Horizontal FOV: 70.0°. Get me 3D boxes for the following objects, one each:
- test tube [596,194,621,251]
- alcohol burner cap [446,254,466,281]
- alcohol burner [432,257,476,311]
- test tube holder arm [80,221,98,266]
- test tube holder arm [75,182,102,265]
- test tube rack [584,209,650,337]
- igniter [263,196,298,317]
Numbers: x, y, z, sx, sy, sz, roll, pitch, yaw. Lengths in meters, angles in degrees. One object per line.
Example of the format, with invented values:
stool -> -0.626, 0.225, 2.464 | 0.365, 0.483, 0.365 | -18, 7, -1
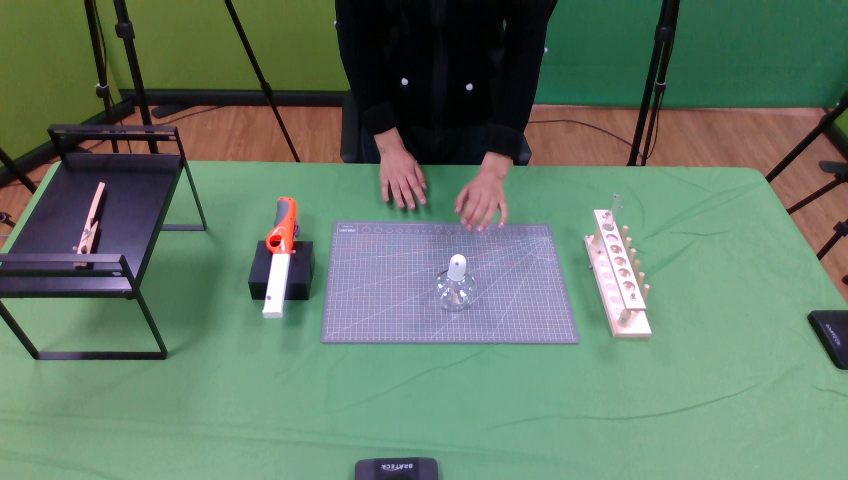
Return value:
test tube -> 0.346, -0.029, 1.141 | 0.017, 0.151, 0.017 | 0, 50, 0
alcohol burner cap -> 0.058, 0.045, 1.043 | 0.034, 0.048, 0.033 | 4, 45, -4
alcohol burner -> 0.055, 0.070, 1.068 | 0.078, 0.119, 0.077 | 3, 45, -3
test tube holder arm -> -0.503, 0.004, 0.910 | 0.010, 0.015, 0.087 | 26, 32, -36
test tube holder arm -> -0.518, -0.030, 0.937 | 0.013, 0.015, 0.177 | 25, 33, -37
test tube rack -> 0.365, 0.056, 1.129 | 0.067, 0.085, 0.240 | 1, 46, -4
igniter -> -0.259, 0.020, 1.089 | 0.057, 0.025, 0.274 | -2, 49, -3
